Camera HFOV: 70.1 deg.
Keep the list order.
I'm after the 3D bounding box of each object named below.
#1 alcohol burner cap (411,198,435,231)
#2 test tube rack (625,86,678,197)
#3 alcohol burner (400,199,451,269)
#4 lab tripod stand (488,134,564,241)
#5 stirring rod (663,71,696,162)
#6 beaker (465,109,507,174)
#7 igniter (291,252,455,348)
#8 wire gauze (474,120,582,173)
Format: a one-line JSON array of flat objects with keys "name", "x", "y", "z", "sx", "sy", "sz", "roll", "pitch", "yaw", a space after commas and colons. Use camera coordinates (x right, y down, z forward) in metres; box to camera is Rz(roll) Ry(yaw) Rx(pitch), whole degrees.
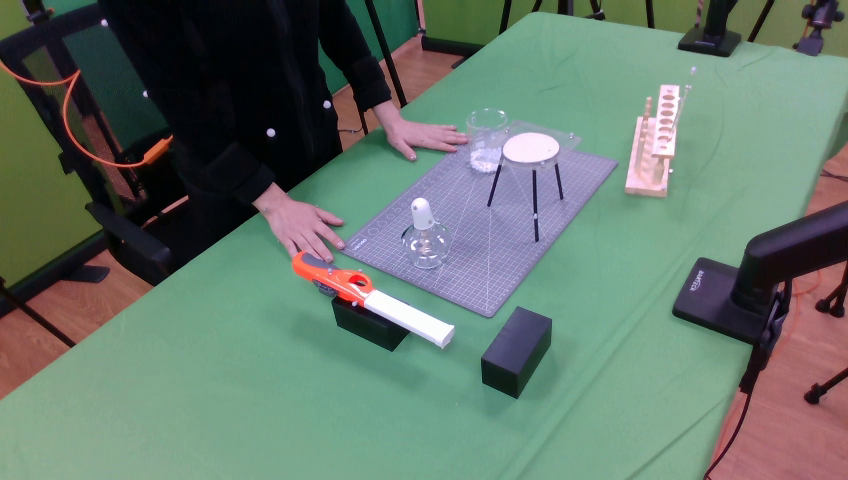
[{"name": "alcohol burner cap", "x": -0.003, "y": -0.041, "z": 0.893, "sx": 0.034, "sy": 0.048, "sz": 0.033, "roll": -7, "pitch": 41, "yaw": 7}, {"name": "test tube rack", "x": 0.411, "y": -0.184, "z": 1.088, "sx": 0.066, "sy": 0.085, "sz": 0.242, "roll": 9, "pitch": 43, "yaw": 18}, {"name": "alcohol burner", "x": 0.000, "y": -0.013, "z": 0.917, "sx": 0.078, "sy": 0.119, "sz": 0.077, "roll": -5, "pitch": 41, "yaw": 5}, {"name": "lab tripod stand", "x": 0.168, "y": -0.092, "z": 0.972, "sx": 0.148, "sy": 0.132, "sz": 0.147, "roll": -5, "pitch": 41, "yaw": 5}, {"name": "stirring rod", "x": 0.410, "y": -0.195, "z": 0.981, "sx": 0.014, "sy": 0.177, "sz": 0.006, "roll": 12, "pitch": 50, "yaw": 14}, {"name": "beaker", "x": 0.118, "y": -0.180, "z": 1.109, "sx": 0.084, "sy": 0.100, "sz": 0.073, "roll": -27, "pitch": 44, "yaw": -23}, {"name": "igniter", "x": -0.080, "y": 0.076, "z": 0.822, "sx": 0.274, "sy": 0.025, "sz": 0.057, "roll": 23, "pitch": 45, "yaw": 27}, {"name": "wire gauze", "x": 0.161, "y": -0.143, "z": 0.928, "sx": 0.120, "sy": 0.011, "sz": 0.125, "roll": 20, "pitch": 47, "yaw": 31}]
